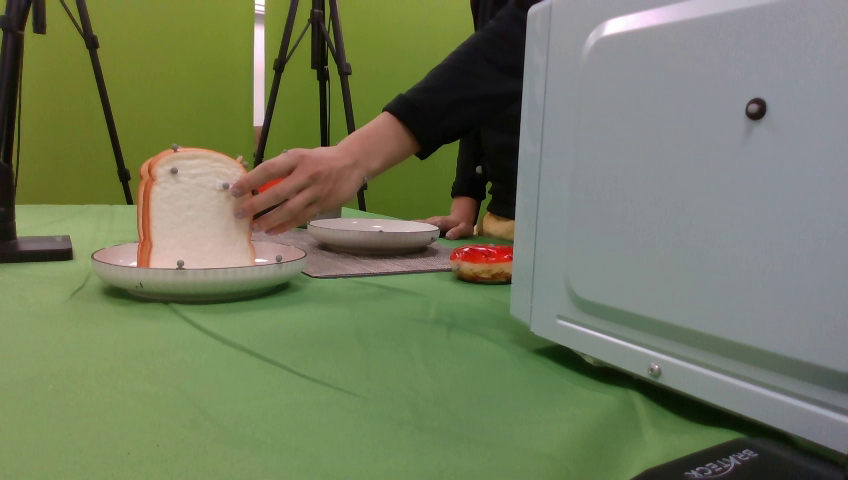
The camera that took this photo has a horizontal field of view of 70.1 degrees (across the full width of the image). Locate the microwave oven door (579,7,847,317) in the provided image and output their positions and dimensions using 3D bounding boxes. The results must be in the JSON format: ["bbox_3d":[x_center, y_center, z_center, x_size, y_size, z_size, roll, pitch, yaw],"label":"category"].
[{"bbox_3d":[0.294,-0.067,0.570,0.358,0.243,0.039,-3,9,-31],"label":"microwave oven door"}]

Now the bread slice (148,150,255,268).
[{"bbox_3d":[-0.230,-0.024,0.618,0.107,0.134,0.018,-8,9,-34],"label":"bread slice"}]

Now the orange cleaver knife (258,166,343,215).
[{"bbox_3d":[-0.276,-0.090,1.369,0.212,0.077,0.012,33,-11,-34],"label":"orange cleaver knife"}]

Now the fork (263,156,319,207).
[{"bbox_3d":[-0.331,-0.144,1.505,0.207,0.018,0.028,-42,-21,22],"label":"fork"}]

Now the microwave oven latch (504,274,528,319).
[{"bbox_3d":[0.100,0.041,0.470,0.079,0.029,0.030,-1,7,-26],"label":"microwave oven latch"}]

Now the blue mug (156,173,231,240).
[{"bbox_3d":[-0.381,-0.057,1.004,0.117,0.106,0.082,1,8,-12],"label":"blue mug"}]

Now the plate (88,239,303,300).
[{"bbox_3d":[-0.233,0.029,0.636,0.208,0.039,0.207,2,7,0],"label":"plate"}]

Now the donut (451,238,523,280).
[{"bbox_3d":[0.083,0.022,0.746,0.099,0.048,0.099,0,6,0],"label":"donut"}]

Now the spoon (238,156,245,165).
[{"bbox_3d":[-0.477,-0.145,1.492,0.041,0.022,0.193,0,51,12],"label":"spoon"}]

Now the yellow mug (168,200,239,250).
[{"bbox_3d":[-0.320,-0.023,0.904,0.130,0.064,0.100,9,11,36],"label":"yellow mug"}]

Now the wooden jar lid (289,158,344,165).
[{"bbox_3d":[-0.215,-0.153,1.212,0.108,0.020,0.108,2,5,0],"label":"wooden jar lid"}]

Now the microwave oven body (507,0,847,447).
[{"bbox_3d":[0.331,-0.042,0.425,0.444,0.260,0.324,-2,8,-31],"label":"microwave oven body"}]

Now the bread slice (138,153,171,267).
[{"bbox_3d":[-0.256,-0.029,0.660,0.105,0.131,0.019,-2,0,-36],"label":"bread slice"}]

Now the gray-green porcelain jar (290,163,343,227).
[{"bbox_3d":[-0.217,-0.091,1.221,0.106,0.126,0.106,2,7,0],"label":"gray-green porcelain jar"}]

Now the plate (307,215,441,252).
[{"bbox_3d":[-0.078,-0.011,0.954,0.209,0.038,0.209,2,8,0],"label":"plate"}]

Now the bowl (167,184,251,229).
[{"bbox_3d":[-0.408,-0.064,1.155,0.151,0.077,0.151,2,8,0],"label":"bowl"}]
